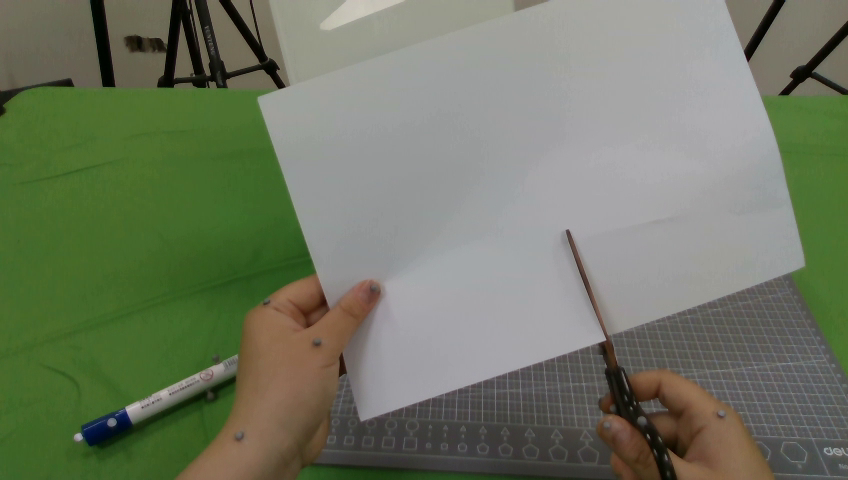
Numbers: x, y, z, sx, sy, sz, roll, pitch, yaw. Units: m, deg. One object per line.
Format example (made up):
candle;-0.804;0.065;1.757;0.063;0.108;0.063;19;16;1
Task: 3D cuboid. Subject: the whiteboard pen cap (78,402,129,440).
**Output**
whiteboard pen cap;-0.236;0.133;0.449;0.033;0.018;0.018;-25;45;-27

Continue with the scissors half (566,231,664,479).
scissors half;0.109;0.072;0.352;0.013;0.040;0.173;-16;64;5

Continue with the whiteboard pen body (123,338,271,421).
whiteboard pen body;-0.188;0.112;0.475;0.141;0.017;0.017;-24;45;-27

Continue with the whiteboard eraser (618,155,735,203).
whiteboard eraser;0.276;-0.067;0.668;0.113;0.042;0.055;0;42;1

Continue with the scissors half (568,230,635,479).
scissors half;0.112;0.078;0.371;0.013;0.040;0.174;-14;82;0

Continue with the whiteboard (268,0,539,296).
whiteboard;-0.029;-0.136;0.601;0.218;0.307;0.142;-17;22;-17
